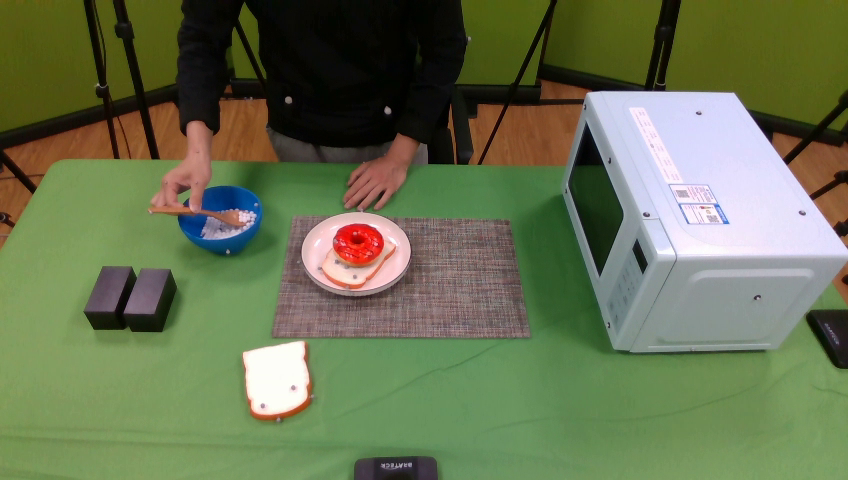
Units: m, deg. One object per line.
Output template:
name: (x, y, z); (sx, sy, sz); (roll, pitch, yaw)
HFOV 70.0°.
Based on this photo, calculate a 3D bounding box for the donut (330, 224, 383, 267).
donut: (-0.125, 0.010, 1.127); (0.099, 0.048, 0.098); (3, 45, -3)

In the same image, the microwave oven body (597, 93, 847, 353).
microwave oven body: (0.475, -0.041, 1.109); (0.326, 0.261, 0.438); (-1, 45, -4)

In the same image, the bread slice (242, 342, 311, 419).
bread slice: (-0.233, 0.223, 0.970); (0.105, 0.019, 0.130); (-10, 46, -12)

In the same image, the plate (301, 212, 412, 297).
plate: (-0.126, 0.031, 1.145); (0.208, 0.039, 0.206); (2, 46, -2)

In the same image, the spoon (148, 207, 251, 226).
spoon: (-0.403, -0.048, 1.099); (0.194, 0.021, 0.041); (8, 41, -50)

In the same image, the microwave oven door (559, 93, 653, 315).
microwave oven door: (0.327, -0.074, 1.123); (0.039, 0.245, 0.353); (-1, 46, -5)

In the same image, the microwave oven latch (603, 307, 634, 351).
microwave oven latch: (0.332, 0.153, 1.044); (0.030, 0.029, 0.078); (0, 45, -4)

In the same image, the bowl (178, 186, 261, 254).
bowl: (-0.383, -0.026, 1.158); (0.151, 0.077, 0.150); (2, 46, -2)

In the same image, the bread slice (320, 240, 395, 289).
bread slice: (-0.129, 0.037, 1.141); (0.107, 0.018, 0.134); (19, 47, 14)
